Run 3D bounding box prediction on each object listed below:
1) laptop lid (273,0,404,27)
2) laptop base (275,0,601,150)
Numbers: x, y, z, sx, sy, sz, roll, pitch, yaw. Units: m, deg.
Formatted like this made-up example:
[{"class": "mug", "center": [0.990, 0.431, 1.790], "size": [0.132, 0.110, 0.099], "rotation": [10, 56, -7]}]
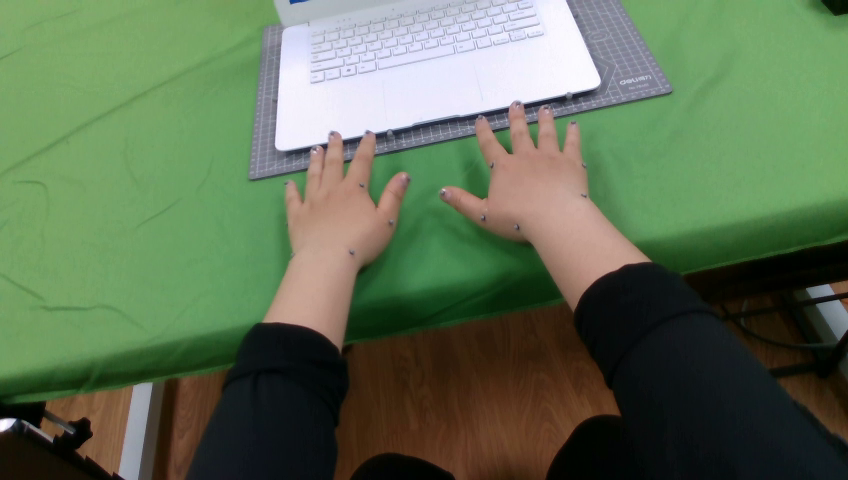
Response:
[{"class": "laptop lid", "center": [-0.032, -0.390, 0.702], "size": [0.356, 0.244, 0.013], "rotation": [-12, 43, 5]}, {"class": "laptop base", "center": [0.002, -0.214, 0.710], "size": [0.354, 0.023, 0.233], "rotation": [-11, 54, 4]}]
